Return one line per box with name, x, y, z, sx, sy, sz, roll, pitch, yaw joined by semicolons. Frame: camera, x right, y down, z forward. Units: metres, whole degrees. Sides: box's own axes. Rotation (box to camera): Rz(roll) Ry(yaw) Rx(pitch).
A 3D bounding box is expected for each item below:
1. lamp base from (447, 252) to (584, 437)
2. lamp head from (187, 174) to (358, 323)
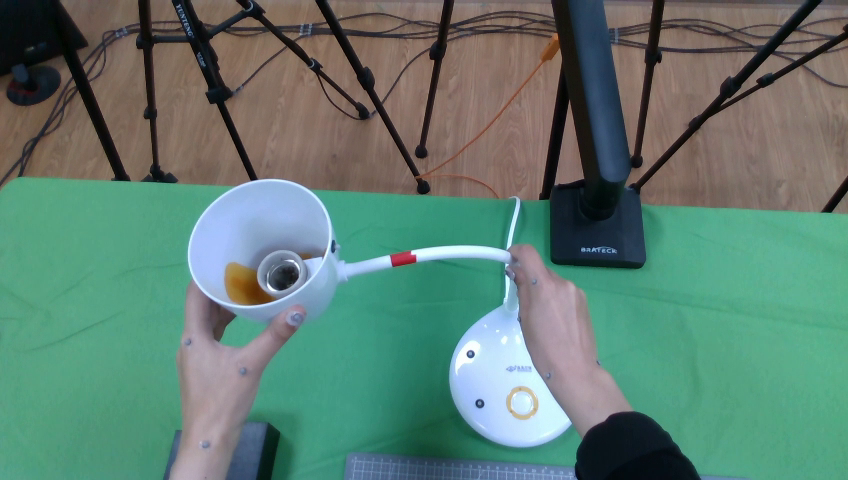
lamp base;0.101;0.105;0.657;0.161;0.182;0.177;-11;59;-3
lamp head;-0.118;0.019;0.514;0.112;0.124;0.111;-4;65;9
